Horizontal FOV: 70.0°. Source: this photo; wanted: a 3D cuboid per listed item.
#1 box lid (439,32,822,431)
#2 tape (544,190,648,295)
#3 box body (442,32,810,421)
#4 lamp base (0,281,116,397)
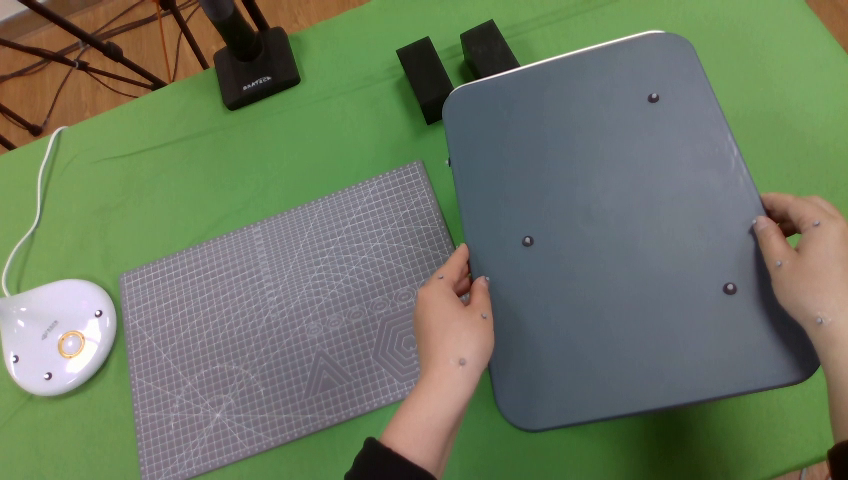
[{"bbox_3d":[0.163,-0.030,0.563,0.263,0.015,0.368,-13,63,8],"label":"box lid"},{"bbox_3d":[0.198,0.002,0.701,0.116,0.053,0.116,-4,67,10],"label":"tape"},{"bbox_3d":[0.186,-0.007,0.653,0.254,0.162,0.361,-15,66,6],"label":"box body"},{"bbox_3d":[-0.516,0.098,0.748,0.178,0.182,0.160,16,72,20],"label":"lamp base"}]
